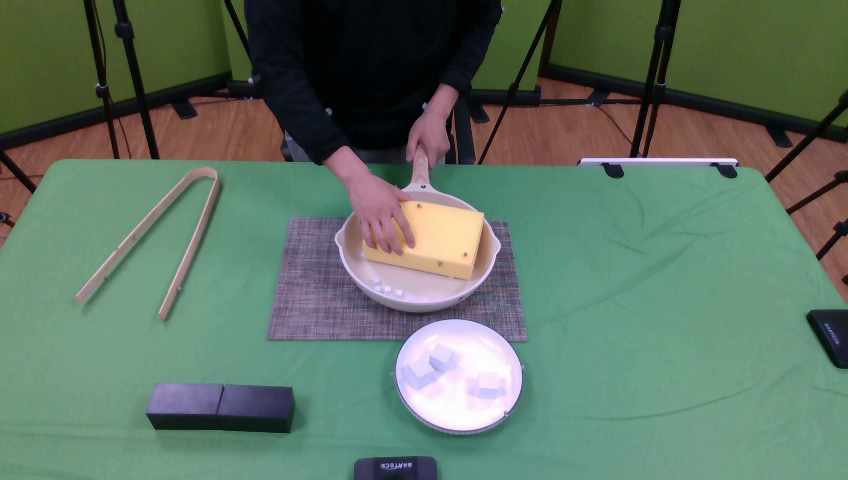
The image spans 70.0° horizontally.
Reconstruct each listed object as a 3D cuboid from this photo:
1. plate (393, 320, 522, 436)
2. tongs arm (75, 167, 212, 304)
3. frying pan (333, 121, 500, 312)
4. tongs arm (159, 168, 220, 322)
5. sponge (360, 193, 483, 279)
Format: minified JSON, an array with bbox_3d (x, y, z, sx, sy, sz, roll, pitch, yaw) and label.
[{"bbox_3d":[0.053,0.222,0.979,0.208,0.039,0.206,2,46,-2],"label":"plate"},{"bbox_3d":[-0.526,-0.021,1.167,0.051,0.026,0.383,13,46,7],"label":"tongs arm"},{"bbox_3d":[-0.011,-0.063,1.195,0.307,0.103,0.485,4,55,-2],"label":"frying pan"},{"bbox_3d":[-0.446,-0.005,1.164,0.028,0.028,0.385,1,46,0],"label":"tongs arm"},{"bbox_3d":[-0.003,-0.009,1.141,0.207,0.061,0.117,11,60,7],"label":"sponge"}]
